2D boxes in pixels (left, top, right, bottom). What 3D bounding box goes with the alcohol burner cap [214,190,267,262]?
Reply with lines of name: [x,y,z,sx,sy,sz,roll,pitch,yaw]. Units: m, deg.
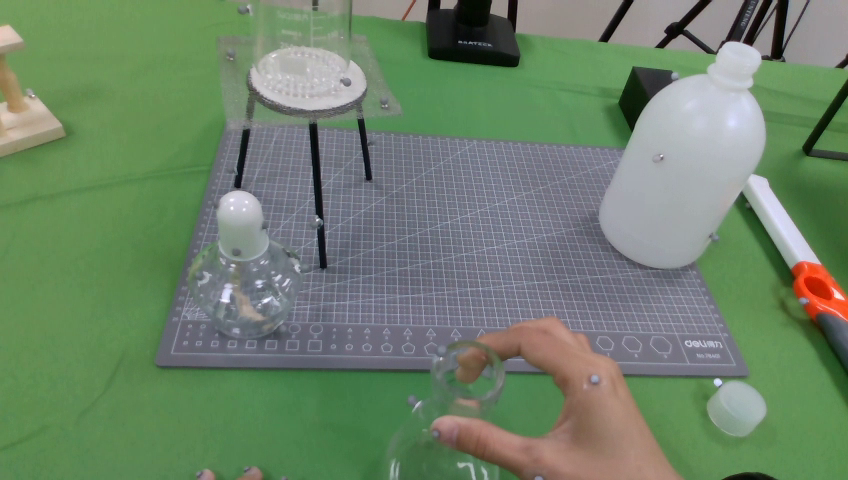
alcohol burner cap: [-0.121,-0.011,0.396,0.034,0.048,0.033,5,51,-5]

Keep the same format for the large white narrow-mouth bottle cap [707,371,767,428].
large white narrow-mouth bottle cap: [0.234,0.120,0.454,0.038,0.024,0.037,5,45,-5]

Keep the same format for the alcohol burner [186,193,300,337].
alcohol burner: [-0.126,0.013,0.422,0.078,0.120,0.077,7,43,-6]

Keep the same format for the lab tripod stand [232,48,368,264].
lab tripod stand: [-0.096,-0.075,0.501,0.149,0.132,0.147,7,45,-6]

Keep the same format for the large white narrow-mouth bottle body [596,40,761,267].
large white narrow-mouth bottle body: [0.222,-0.074,0.515,0.102,0.196,0.101,5,45,-4]

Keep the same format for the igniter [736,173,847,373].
igniter: [0.353,0.031,0.559,0.057,0.025,0.273,11,44,-14]

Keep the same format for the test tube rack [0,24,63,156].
test tube rack: [-0.447,-0.096,0.494,0.242,0.086,0.066,-31,58,-34]

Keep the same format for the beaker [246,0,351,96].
beaker: [-0.090,-0.160,0.424,0.084,0.101,0.073,-2,48,-13]

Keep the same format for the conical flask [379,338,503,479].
conical flask: [0.015,0.106,0.346,0.075,0.123,0.074,5,45,-5]

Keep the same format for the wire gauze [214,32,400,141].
wire gauze: [-0.091,-0.123,0.457,0.122,0.011,0.123,-9,52,-16]
